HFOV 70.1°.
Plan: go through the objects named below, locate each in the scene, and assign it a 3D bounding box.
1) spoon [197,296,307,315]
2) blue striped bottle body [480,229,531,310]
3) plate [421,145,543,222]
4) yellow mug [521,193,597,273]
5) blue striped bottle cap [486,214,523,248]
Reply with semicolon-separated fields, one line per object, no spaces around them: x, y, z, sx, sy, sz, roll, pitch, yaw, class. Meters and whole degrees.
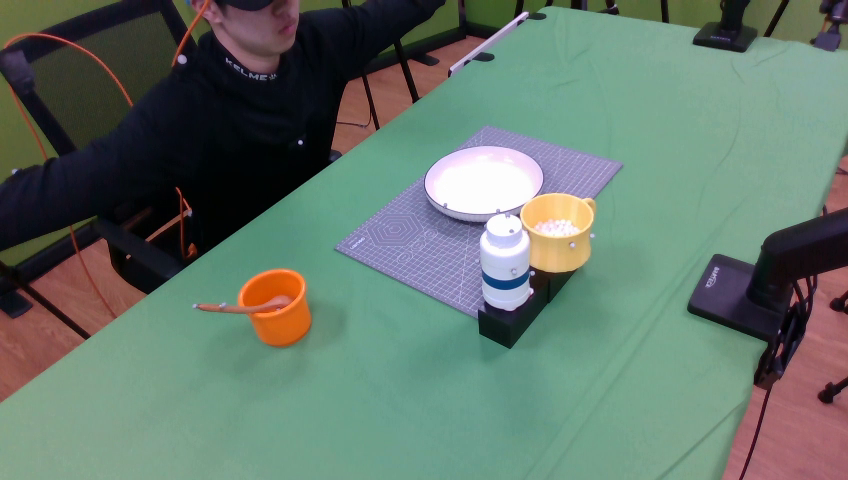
-0.220;0.089;0.793;0.041;0.021;0.195;20;7;25;spoon
0.104;0.027;0.769;0.063;0.121;0.063;-4;40;4;blue striped bottle body
0.101;-0.094;1.048;0.207;0.039;0.206;-4;41;4;plate
0.197;-0.019;0.852;0.131;0.064;0.099;-30;46;-25;yellow mug
0.098;-0.011;0.735;0.044;0.021;0.044;-3;38;3;blue striped bottle cap
